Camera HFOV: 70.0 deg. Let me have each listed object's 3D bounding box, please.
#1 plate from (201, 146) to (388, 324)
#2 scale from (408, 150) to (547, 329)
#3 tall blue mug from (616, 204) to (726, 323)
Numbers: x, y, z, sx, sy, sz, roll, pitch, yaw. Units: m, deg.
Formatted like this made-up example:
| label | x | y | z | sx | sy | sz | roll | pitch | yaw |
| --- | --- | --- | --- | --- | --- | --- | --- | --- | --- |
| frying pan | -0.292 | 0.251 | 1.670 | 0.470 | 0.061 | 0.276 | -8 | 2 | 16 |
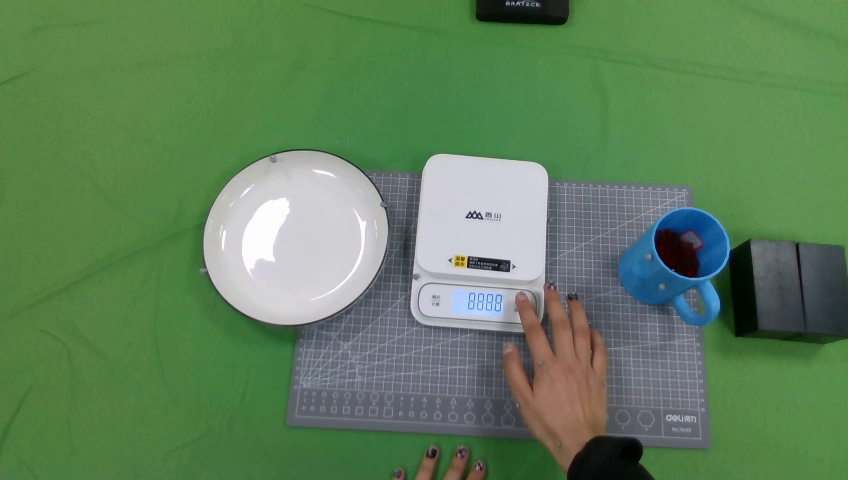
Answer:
| label | x | y | z | sx | sy | sz | roll | pitch | yaw |
| --- | --- | --- | --- | --- | --- | --- | --- | --- | --- |
| plate | -0.143 | -0.005 | 0.686 | 0.209 | 0.038 | 0.208 | 0 | 73 | 2 |
| scale | 0.063 | -0.003 | 0.690 | 0.148 | 0.032 | 0.200 | 5 | 74 | 1 |
| tall blue mug | 0.270 | 0.026 | 0.642 | 0.107 | 0.108 | 0.077 | 39 | 76 | 11 |
